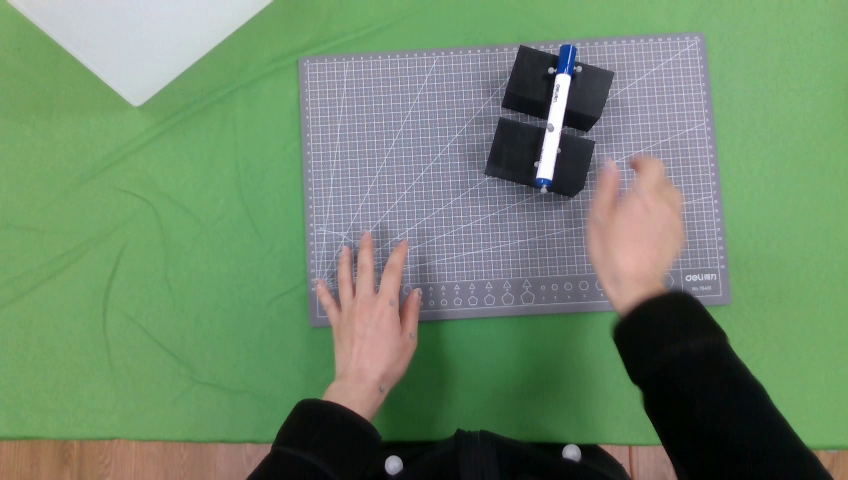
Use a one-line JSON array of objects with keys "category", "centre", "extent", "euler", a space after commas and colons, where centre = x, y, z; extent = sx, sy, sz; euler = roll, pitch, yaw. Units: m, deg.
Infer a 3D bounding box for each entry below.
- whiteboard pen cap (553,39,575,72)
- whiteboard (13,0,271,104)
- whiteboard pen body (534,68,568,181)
[{"category": "whiteboard pen cap", "centre": [0.140, -0.183, 0.609], "extent": [0.018, 0.018, 0.033], "euler": [12, 83, 2]}, {"category": "whiteboard", "centre": [-0.312, -0.320, 0.567], "extent": [0.217, 0.308, 0.142], "euler": [-39, 65, -2]}, {"category": "whiteboard pen body", "centre": [0.128, -0.126, 0.602], "extent": [0.017, 0.017, 0.140], "euler": [11, 83, 2]}]
